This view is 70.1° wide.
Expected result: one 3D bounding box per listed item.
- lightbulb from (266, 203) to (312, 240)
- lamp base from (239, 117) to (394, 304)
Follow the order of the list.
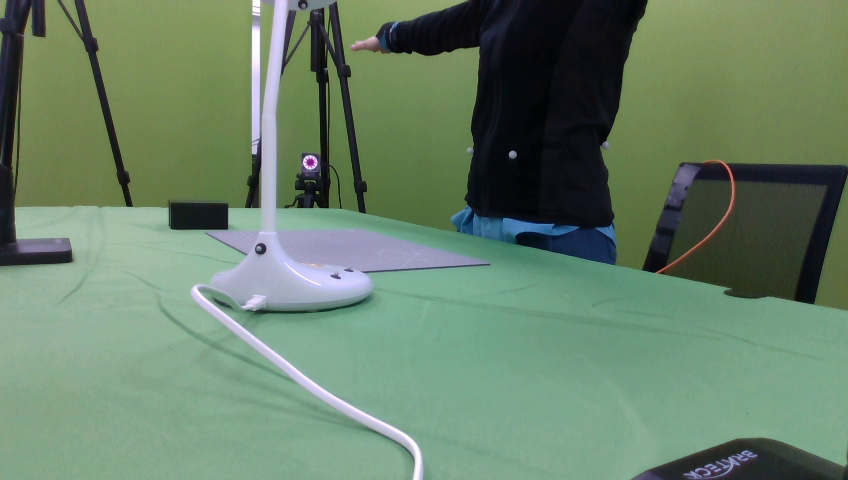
[{"bbox_3d":[-0.224,-0.026,1.032,0.059,0.059,0.108,8,25,38],"label":"lightbulb"},{"bbox_3d":[-0.106,-0.034,0.619,0.161,0.180,0.178,0,10,-17],"label":"lamp base"}]
